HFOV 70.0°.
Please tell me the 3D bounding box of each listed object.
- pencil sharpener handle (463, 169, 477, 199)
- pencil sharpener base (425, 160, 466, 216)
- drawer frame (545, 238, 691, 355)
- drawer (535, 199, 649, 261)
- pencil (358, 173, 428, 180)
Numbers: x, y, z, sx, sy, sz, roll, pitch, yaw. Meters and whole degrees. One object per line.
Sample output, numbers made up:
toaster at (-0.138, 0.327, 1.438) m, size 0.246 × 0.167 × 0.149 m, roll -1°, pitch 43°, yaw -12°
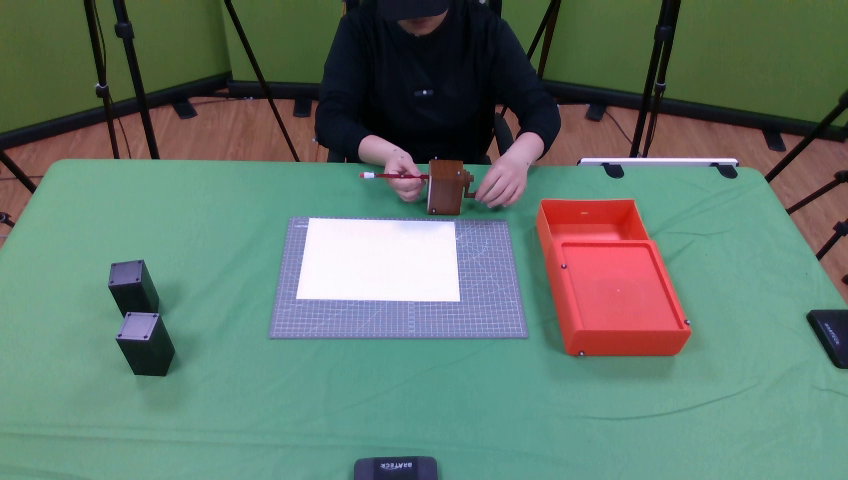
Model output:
pencil sharpener handle at (0.096, -0.113, 1.239) m, size 0.031 × 0.068 × 0.036 m, roll 1°, pitch 39°, yaw -4°
pencil sharpener base at (0.044, -0.106, 1.246) m, size 0.077 × 0.107 × 0.061 m, roll 1°, pitch 45°, yaw -4°
drawer frame at (0.338, 0.097, 1.086) m, size 0.202 × 0.083 × 0.212 m, roll 0°, pitch 46°, yaw -4°
drawer at (0.332, 0.015, 1.169) m, size 0.195 × 0.073 × 0.210 m, roll 0°, pitch 46°, yaw -5°
pencil at (-0.036, -0.127, 1.222) m, size 0.194 × 0.012 × 0.012 m, roll 1°, pitch 45°, yaw -4°
